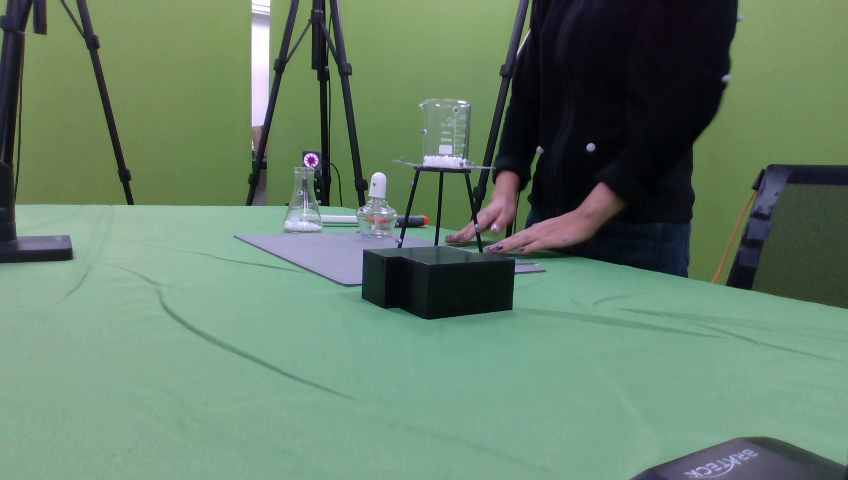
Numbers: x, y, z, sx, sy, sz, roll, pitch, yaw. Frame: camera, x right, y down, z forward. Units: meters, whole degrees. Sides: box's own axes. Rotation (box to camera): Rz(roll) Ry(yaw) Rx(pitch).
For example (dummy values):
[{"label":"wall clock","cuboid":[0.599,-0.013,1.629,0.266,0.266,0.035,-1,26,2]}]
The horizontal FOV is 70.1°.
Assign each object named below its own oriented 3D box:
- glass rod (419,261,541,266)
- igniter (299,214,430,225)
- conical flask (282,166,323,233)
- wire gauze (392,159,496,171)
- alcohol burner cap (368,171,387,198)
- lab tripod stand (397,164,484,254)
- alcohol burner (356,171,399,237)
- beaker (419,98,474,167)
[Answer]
[{"label":"glass rod","cuboid":[0.080,0.031,0.807,0.201,0.008,0.008,1,6,-32]},{"label":"igniter","cuboid":[-0.123,-0.044,1.281,0.278,0.025,0.057,0,-2,-19]},{"label":"conical flask","cuboid":[-0.225,-0.076,1.129,0.075,0.122,0.075,2,8,0]},{"label":"wire gauze","cuboid":[0.032,-0.114,0.923,0.124,0.011,0.122,5,5,32]},{"label":"alcohol burner cap","cuboid":[-0.083,-0.100,1.088,0.034,0.048,0.034,7,3,0]},{"label":"lab tripod stand","cuboid":[0.029,-0.049,0.930,0.148,0.131,0.148,4,7,0]},{"label":"alcohol burner","cuboid":[-0.084,-0.064,1.092,0.078,0.119,0.078,2,10,0]},{"label":"beaker","cuboid":[0.032,-0.161,0.913,0.084,0.100,0.074,1,7,-10]}]
